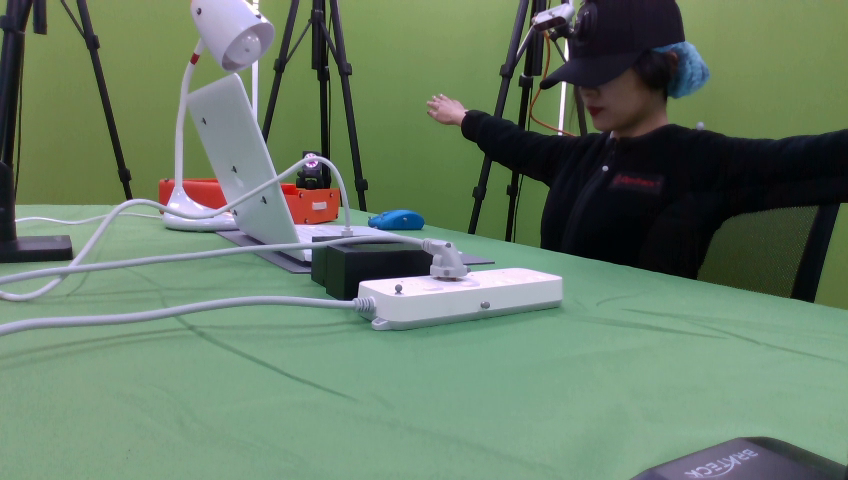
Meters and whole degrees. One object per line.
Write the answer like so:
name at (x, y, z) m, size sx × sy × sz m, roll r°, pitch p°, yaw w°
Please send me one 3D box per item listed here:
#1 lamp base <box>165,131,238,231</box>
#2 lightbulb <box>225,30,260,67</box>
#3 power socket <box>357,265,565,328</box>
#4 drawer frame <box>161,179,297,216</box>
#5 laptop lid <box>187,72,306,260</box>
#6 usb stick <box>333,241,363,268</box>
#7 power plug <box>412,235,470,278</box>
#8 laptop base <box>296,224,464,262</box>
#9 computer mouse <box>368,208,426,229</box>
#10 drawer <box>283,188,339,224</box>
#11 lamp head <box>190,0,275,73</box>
lamp base at (-0.407, -0.112, 1.119) m, size 0.179 × 0.180 × 0.161 m, roll -1°, pitch 7°, yaw 7°
lightbulb at (-0.319, -0.334, 1.000) m, size 0.107 × 0.059 × 0.059 m, roll 44°, pitch 14°, yaw 4°
power socket at (0.041, 0.049, 0.572) m, size 0.228 × 0.032 × 0.072 m, roll -3°, pitch 8°, yaw -35°
drawer frame at (-0.421, -0.089, 1.329) m, size 0.213 × 0.082 × 0.202 m, roll 4°, pitch 8°, yaw 16°
laptop lid at (-0.263, -0.102, 0.852) m, size 0.013 × 0.242 × 0.355 m, roll -25°, pitch 20°, yaw -25°
usb stick at (-0.097, 0.017, 0.743) m, size 0.021 × 0.027 × 0.059 m, roll 0°, pitch 7°, yaw -31°
power plug at (0.017, 0.023, 0.588) m, size 0.035 × 0.052 × 0.072 m, roll -1°, pitch 7°, yaw -24°
laptop base at (-0.127, 0.002, 0.947) m, size 0.237 × 0.023 × 0.352 m, roll 2°, pitch 6°, yaw -30°
computer mouse at (-0.057, -0.044, 1.267) m, size 0.118 × 0.041 × 0.062 m, roll -6°, pitch 12°, yaw -28°
drawer at (-0.314, -0.078, 1.301) m, size 0.211 × 0.073 × 0.195 m, roll 4°, pitch 8°, yaw 15°
lamp head at (-0.330, -0.355, 1.008) m, size 0.123 × 0.112 × 0.112 m, roll 43°, pitch 15°, yaw 6°
